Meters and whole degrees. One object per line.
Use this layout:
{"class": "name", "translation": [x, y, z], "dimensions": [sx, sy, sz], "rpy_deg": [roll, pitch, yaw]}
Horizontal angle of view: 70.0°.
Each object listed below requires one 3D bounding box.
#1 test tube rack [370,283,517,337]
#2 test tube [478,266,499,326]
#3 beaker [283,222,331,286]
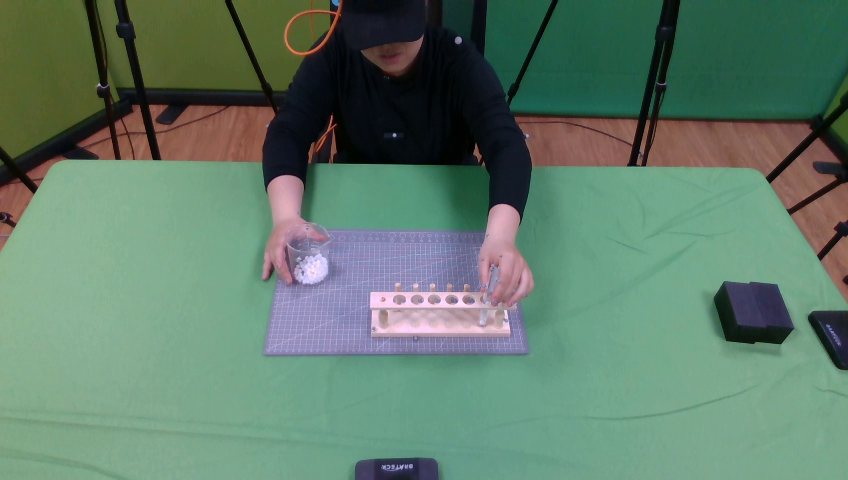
{"class": "test tube rack", "translation": [0.030, 0.116, 1.041], "dimensions": [0.242, 0.085, 0.066], "rpy_deg": [1, 46, -4]}
{"class": "test tube", "translation": [0.105, 0.096, 0.998], "dimensions": [0.017, 0.151, 0.017], "rpy_deg": [3, 48, -3]}
{"class": "beaker", "translation": [-0.208, 0.028, 1.098], "dimensions": [0.084, 0.101, 0.073], "rpy_deg": [2, 46, -4]}
